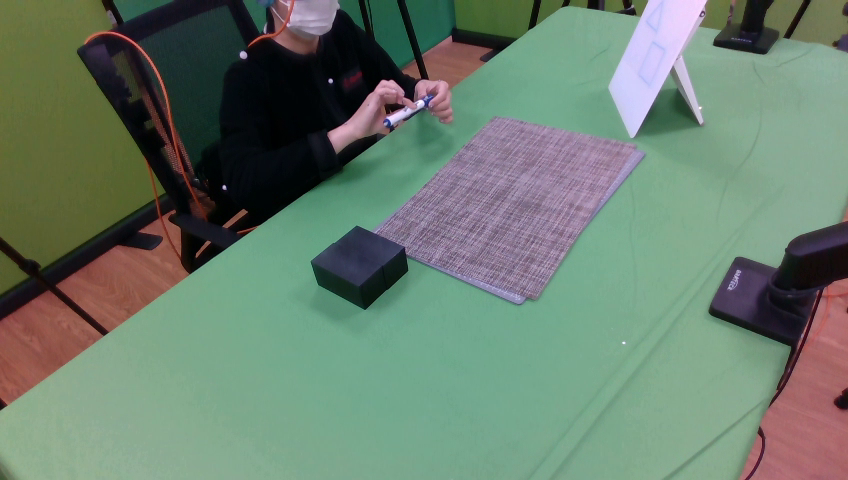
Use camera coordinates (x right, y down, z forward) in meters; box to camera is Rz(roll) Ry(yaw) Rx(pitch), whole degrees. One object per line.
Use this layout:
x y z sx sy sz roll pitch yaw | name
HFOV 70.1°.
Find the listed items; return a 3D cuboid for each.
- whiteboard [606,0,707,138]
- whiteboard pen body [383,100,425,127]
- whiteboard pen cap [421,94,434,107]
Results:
0.496 -0.358 1.147 0.144 0.305 0.216 11 40 -7 | whiteboard
-0.029 -0.239 1.122 0.017 0.017 0.141 20 39 28 | whiteboard pen body
0.005 -0.269 1.164 0.018 0.018 0.033 19 39 28 | whiteboard pen cap
